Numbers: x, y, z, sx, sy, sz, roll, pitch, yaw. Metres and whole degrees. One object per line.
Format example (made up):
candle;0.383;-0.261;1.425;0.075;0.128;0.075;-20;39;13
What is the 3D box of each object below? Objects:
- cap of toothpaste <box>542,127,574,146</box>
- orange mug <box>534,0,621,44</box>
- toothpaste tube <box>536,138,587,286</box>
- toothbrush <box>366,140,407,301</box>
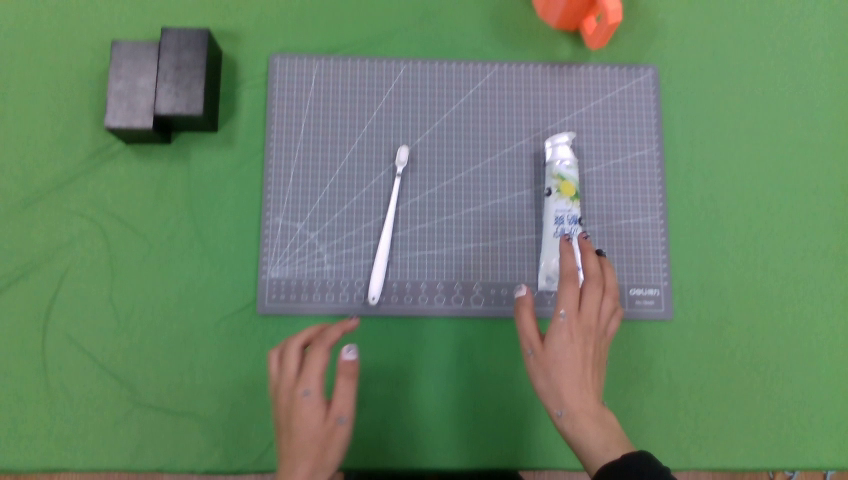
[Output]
cap of toothpaste;0.149;-0.114;0.672;0.037;0.037;0.011;-11;78;-5
orange mug;0.179;-0.289;0.673;0.083;0.101;0.125;-20;78;-6
toothpaste tube;0.148;-0.032;0.664;0.055;0.034;0.164;-1;84;5
toothbrush;-0.040;-0.023;0.658;0.014;0.016;0.181;13;82;-14
